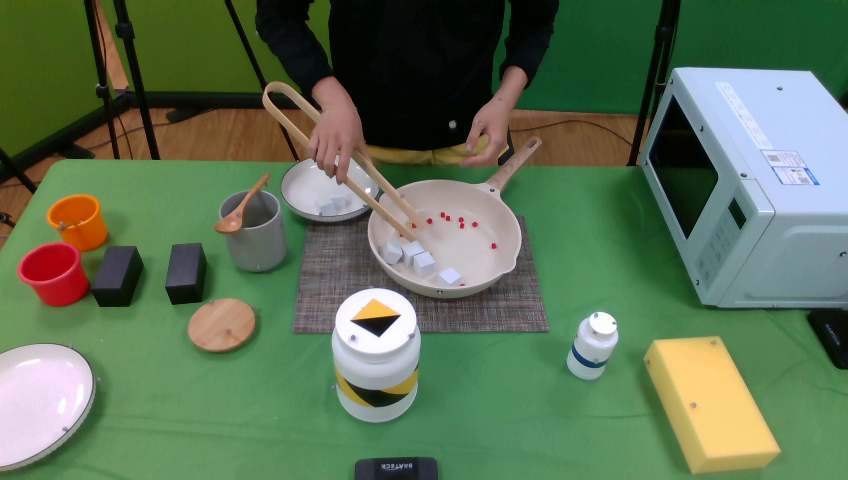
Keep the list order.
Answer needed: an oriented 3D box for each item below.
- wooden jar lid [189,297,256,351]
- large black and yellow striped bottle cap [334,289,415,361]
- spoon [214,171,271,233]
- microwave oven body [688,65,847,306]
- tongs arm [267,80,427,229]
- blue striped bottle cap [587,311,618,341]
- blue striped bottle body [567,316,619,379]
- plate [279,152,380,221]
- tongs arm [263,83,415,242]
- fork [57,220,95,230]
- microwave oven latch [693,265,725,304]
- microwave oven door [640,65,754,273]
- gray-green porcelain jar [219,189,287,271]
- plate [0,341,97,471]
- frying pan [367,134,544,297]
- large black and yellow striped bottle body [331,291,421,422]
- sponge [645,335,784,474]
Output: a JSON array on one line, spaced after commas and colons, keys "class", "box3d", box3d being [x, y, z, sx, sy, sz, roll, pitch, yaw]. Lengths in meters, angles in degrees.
[{"class": "wooden jar lid", "box3d": [-0.342, 0.145, 1.033, 0.108, 0.021, 0.107, 2, 45, -2]}, {"class": "large black and yellow striped bottle cap", "box3d": [-0.069, 0.117, 0.850, 0.115, 0.019, 0.114, 2, 45, -2]}, {"class": "spoon", "box3d": [-0.312, -0.070, 1.070, 0.041, 0.022, 0.193, 8, 43, 11]}, {"class": "microwave oven body", "box3d": [0.669, -0.111, 1.176, 0.326, 0.261, 0.439, 0, 46, -3]}, {"class": "tongs arm", "box3d": [-0.142, -0.154, 1.121, 0.384, 0.026, 0.050, 47, 56, 0]}, {"class": "blue striped bottle cap", "box3d": [0.279, 0.134, 0.947, 0.044, 0.021, 0.044, 2, 45, -2]}, {"class": "blue striped bottle body", "box3d": [0.276, 0.168, 0.984, 0.063, 0.121, 0.062, 2, 46, -2]}, {"class": "plate", "box3d": [-0.197, -0.107, 1.269, 0.208, 0.039, 0.206, 2, 45, -2]}, {"class": "tongs arm", "box3d": [-0.158, -0.137, 1.105, 0.387, 0.028, 0.028, 45, 59, -1]}, {"class": "fork", "box3d": [-0.623, -0.027, 1.086, 0.028, 0.207, 0.018, -2, 92, -16]}, {"class": "microwave oven latch", "box3d": [0.523, 0.081, 1.116, 0.030, 0.029, 0.078, 2, 46, -1]}, {"class": "microwave oven door", "box3d": [0.523, -0.147, 1.193, 0.039, 0.245, 0.353, 0, 47, -3]}, {"class": "gray-green porcelain jar", "box3d": [-0.310, -0.014, 1.113, 0.106, 0.127, 0.105, 2, 46, -2]}, {"class": "plate", "box3d": [-0.599, 0.247, 0.904, 0.209, 0.038, 0.208, 2, 47, -2]}, {"class": "frying pan", "box3d": [0.104, -0.069, 1.205, 0.305, 0.103, 0.487, 33, 61, 23]}, {"class": "large black and yellow striped bottle body", "box3d": [-0.071, 0.175, 0.911, 0.131, 0.185, 0.130, 2, 47, -2]}, {"class": "sponge", "box3d": [0.449, 0.253, 0.956, 0.118, 0.061, 0.205, -4, 46, -7]}]
